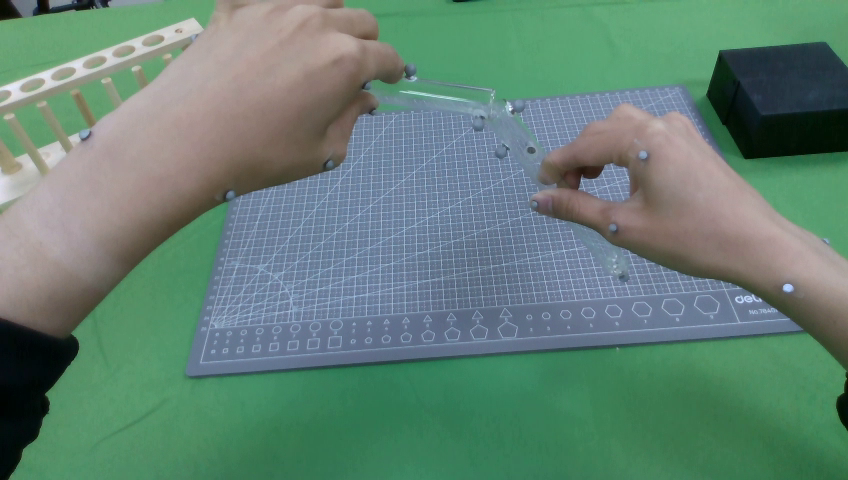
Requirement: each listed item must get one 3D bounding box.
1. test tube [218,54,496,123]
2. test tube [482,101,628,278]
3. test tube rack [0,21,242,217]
[{"bbox_3d":[-0.037,-0.081,0.319,0.150,0.017,0.017,10,50,6],"label":"test tube"},{"bbox_3d":[0.081,-0.023,0.354,0.017,0.152,0.017,-30,36,24],"label":"test tube"},{"bbox_3d":[-0.317,-0.124,0.598,0.242,0.086,0.066,-29,52,-19],"label":"test tube rack"}]
